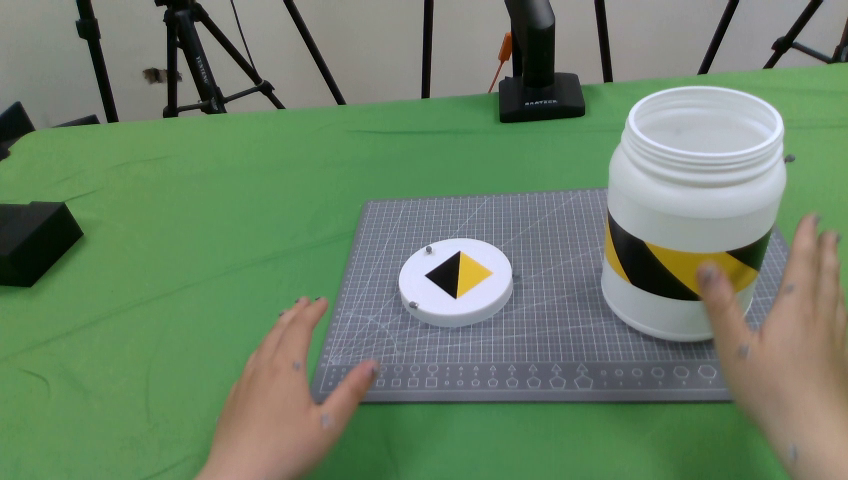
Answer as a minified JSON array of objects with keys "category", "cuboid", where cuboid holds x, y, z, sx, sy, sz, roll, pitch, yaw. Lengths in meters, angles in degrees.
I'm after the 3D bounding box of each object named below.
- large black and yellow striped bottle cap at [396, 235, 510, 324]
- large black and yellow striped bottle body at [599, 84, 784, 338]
[{"category":"large black and yellow striped bottle cap","cuboid":[0.029,0.037,0.609,0.115,0.019,0.114,-4,40,4]},{"category":"large black and yellow striped bottle body","cuboid":[0.219,-0.023,0.510,0.131,0.186,0.129,-6,39,5]}]
